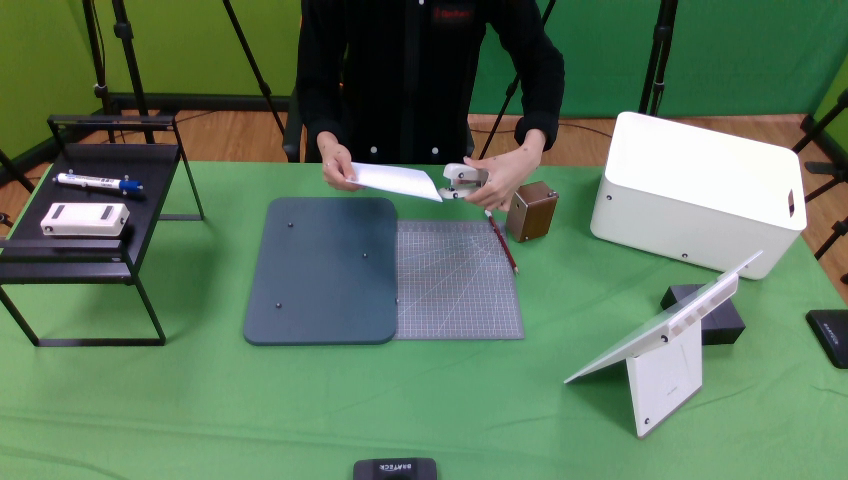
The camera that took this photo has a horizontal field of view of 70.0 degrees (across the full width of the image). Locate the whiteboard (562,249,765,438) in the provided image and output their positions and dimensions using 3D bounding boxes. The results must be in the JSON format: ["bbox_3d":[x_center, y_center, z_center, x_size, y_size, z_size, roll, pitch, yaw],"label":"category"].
[{"bbox_3d":[0.386,0.175,0.905,0.217,0.306,0.143,-26,72,-26],"label":"whiteboard"}]

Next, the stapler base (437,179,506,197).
[{"bbox_3d":[0.086,-0.099,1.092,0.131,0.024,0.041,-9,27,-28],"label":"stapler base"}]

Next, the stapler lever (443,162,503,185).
[{"bbox_3d":[0.088,-0.122,1.084,0.118,0.040,0.026,-9,27,-28],"label":"stapler lever"}]

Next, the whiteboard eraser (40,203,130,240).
[{"bbox_3d":[-0.513,-0.028,0.922,0.113,0.042,0.055,1,48,-3],"label":"whiteboard eraser"}]

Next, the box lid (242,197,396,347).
[{"bbox_3d":[-0.186,0.046,1.147,0.263,0.015,0.369,0,46,-3],"label":"box lid"}]

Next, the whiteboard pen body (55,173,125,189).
[{"bbox_3d":[-0.539,-0.095,0.998,0.141,0.017,0.017,6,46,6],"label":"whiteboard pen body"}]

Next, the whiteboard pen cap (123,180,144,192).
[{"bbox_3d":[-0.479,-0.089,0.993,0.033,0.018,0.018,7,46,14],"label":"whiteboard pen cap"}]

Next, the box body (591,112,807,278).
[{"bbox_3d":[0.540,-0.092,1.229,0.363,0.161,0.253,16,47,11],"label":"box body"}]

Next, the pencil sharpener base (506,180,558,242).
[{"bbox_3d":[0.216,-0.058,1.211,0.077,0.107,0.061,-16,49,-19],"label":"pencil sharpener base"}]

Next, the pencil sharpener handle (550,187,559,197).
[{"bbox_3d":[0.261,-0.084,1.221,0.031,0.068,0.036,-16,65,-19],"label":"pencil sharpener handle"}]

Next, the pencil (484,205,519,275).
[{"bbox_3d":[0.156,-0.002,1.218,0.012,0.012,0.192,-9,48,-13],"label":"pencil"}]
